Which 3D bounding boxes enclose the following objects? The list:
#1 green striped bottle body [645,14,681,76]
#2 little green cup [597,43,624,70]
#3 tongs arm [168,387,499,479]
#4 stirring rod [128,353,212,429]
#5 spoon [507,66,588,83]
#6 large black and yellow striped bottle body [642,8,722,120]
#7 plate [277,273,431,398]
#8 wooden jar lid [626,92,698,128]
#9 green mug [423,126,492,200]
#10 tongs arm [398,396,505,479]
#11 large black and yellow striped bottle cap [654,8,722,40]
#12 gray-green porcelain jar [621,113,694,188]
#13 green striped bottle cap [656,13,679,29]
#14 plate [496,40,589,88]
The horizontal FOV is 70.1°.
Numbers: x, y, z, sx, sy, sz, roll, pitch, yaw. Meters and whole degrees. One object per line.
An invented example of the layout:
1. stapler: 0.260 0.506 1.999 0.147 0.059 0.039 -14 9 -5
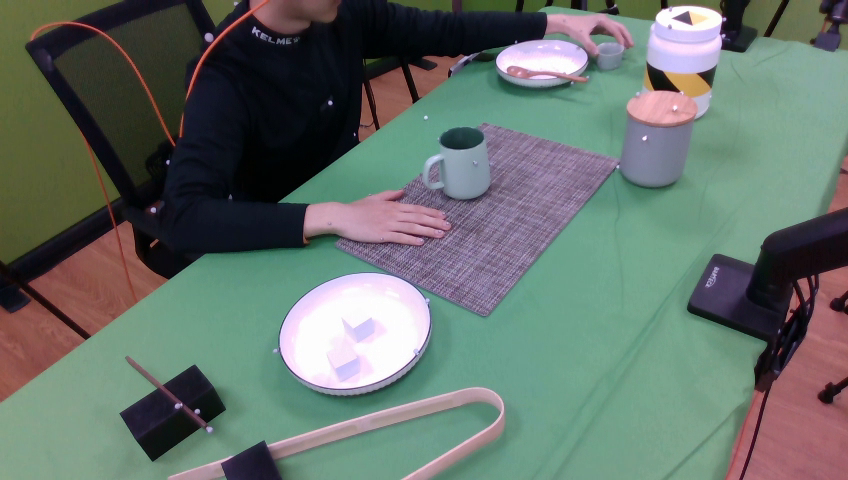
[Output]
1. green striped bottle body: 0.520 -0.424 1.312 0.063 0.120 0.063 -4 41 4
2. little green cup: 0.422 -0.416 1.375 0.061 0.039 0.061 -3 45 4
3. tongs arm: -0.100 0.231 0.711 0.388 0.028 0.028 -13 32 -7
4. stirring rod: -0.311 0.180 0.731 0.175 0.014 0.006 25 54 31
5. spoon: 0.265 -0.357 1.311 0.192 0.022 0.042 18 47 38
6. large black and yellow striped bottle body: 0.493 -0.334 1.161 0.131 0.185 0.130 -4 41 4
7. plate: -0.091 0.129 0.821 0.207 0.039 0.206 -4 41 4
8. wooden jar lid: 0.384 -0.207 0.980 0.108 0.021 0.108 -6 39 5
9. green mug: 0.055 -0.125 1.039 0.126 0.105 0.091 -25 44 -18
10. tongs arm: -0.071 0.272 0.652 0.386 0.026 0.050 -21 37 -17
11. large black and yellow striped bottle cap: 0.483 -0.397 1.108 0.115 0.019 0.114 -3 41 3
12. gray-green porcelain jar: 0.390 -0.161 1.020 0.106 0.127 0.105 -4 41 4
13. green striped bottle cap: 0.515 -0.463 1.278 0.044 0.020 0.044 -6 42 6
14. plate: 0.268 -0.397 1.381 0.209 0.038 0.208 -4 41 4
